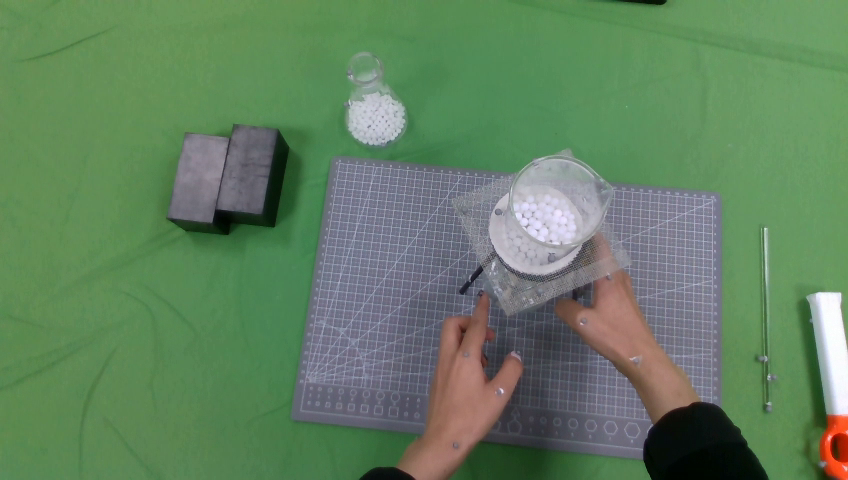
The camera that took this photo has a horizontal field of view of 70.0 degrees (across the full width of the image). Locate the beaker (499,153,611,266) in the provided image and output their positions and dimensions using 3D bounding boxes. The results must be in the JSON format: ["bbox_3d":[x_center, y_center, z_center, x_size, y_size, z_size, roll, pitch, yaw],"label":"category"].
[{"bbox_3d":[0.103,-0.021,0.504,0.084,0.100,0.073,-15,78,-3],"label":"beaker"}]

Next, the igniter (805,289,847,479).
[{"bbox_3d":[0.431,0.188,0.625,0.057,0.025,0.275,2,77,-9],"label":"igniter"}]

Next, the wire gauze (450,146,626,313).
[{"bbox_3d":[0.103,-0.010,0.551,0.125,0.011,0.121,-23,81,-6],"label":"wire gauze"}]

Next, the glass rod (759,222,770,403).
[{"bbox_3d":[0.373,0.075,0.662,0.008,0.008,0.199,6,77,2],"label":"glass rod"}]

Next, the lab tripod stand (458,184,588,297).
[{"bbox_3d":[0.103,0.009,0.613,0.148,0.132,0.147,0,78,1],"label":"lab tripod stand"}]

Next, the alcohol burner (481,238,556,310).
[{"bbox_3d":[0.099,0.031,0.619,0.078,0.119,0.077,0,76,0],"label":"alcohol burner"}]

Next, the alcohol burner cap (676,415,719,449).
[{"bbox_3d":[0.280,0.196,0.614,0.034,0.048,0.033,0,76,1],"label":"alcohol burner cap"}]

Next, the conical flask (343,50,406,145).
[{"bbox_3d":[-0.060,-0.160,0.664,0.075,0.122,0.075,0,76,1],"label":"conical flask"}]
